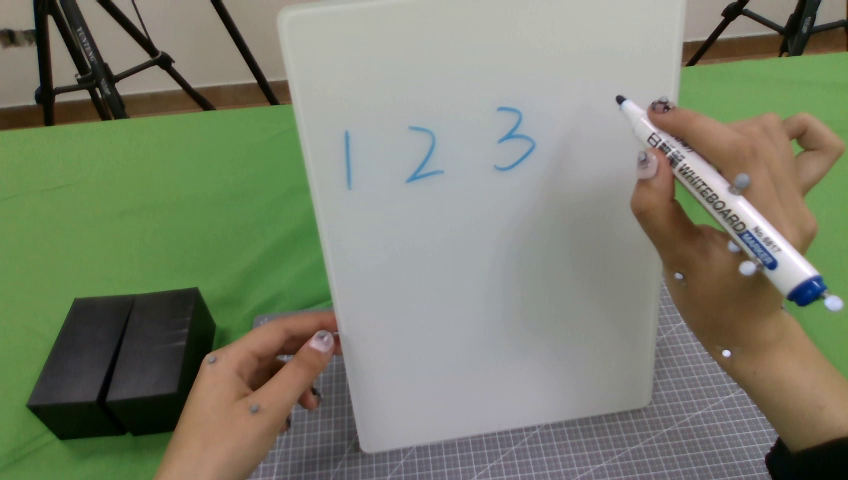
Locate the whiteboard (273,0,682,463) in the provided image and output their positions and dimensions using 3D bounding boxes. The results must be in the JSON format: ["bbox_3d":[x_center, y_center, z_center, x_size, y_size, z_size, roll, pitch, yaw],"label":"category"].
[{"bbox_3d":[0.039,-0.021,0.435,0.217,0.307,0.142,-8,26,-3],"label":"whiteboard"}]

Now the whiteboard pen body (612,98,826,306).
[{"bbox_3d":[0.128,-0.026,0.282,0.017,0.017,0.139,-18,52,-14],"label":"whiteboard pen body"}]
